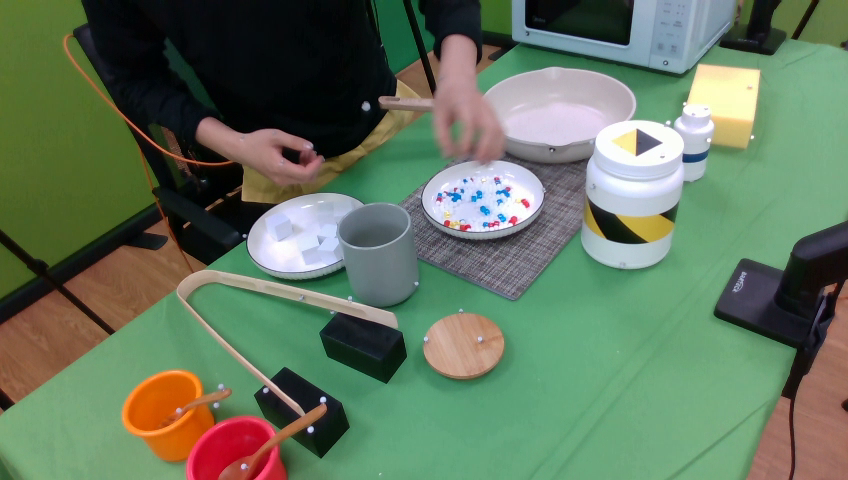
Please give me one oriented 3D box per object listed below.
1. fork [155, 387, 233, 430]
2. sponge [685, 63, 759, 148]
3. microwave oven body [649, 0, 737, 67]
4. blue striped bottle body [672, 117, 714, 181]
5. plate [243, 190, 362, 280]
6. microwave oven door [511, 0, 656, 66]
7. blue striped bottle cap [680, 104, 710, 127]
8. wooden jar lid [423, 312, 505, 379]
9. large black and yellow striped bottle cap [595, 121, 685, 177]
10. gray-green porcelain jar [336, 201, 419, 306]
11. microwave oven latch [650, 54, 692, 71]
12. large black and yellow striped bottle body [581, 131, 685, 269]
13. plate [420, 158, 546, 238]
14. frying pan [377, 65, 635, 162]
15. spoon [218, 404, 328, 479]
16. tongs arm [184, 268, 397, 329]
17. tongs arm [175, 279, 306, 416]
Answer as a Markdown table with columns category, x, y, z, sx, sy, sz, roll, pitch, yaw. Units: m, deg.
| category | x | y | z | sx | sy | sz | roll | pitch | yaw |
| --- | --- | --- | --- | --- | --- | --- | --- | --- | --- |
| fork | -0.264 | 0.191 | 0.688 | 0.206 | 0.018 | 0.028 | -33 | 8 | 44 |
| sponge | 0.569 | -0.263 | 1.164 | 0.117 | 0.061 | 0.207 | 12 | 45 | 22 |
| microwave oven body | 0.475 | -0.602 | 1.411 | 0.438 | 0.261 | 0.327 | 23 | 50 | 32 |
| blue striped bottle body | 0.449 | -0.165 | 1.022 | 0.063 | 0.121 | 0.063 | -5 | 41 | 4 |
| plate | -0.188 | -0.005 | 0.992 | 0.207 | 0.039 | 0.206 | -4 | 41 | 4 |
| microwave oven door | 0.350 | -0.539 | 1.348 | 0.353 | 0.245 | 0.039 | 24 | 50 | 31 |
| blue striped bottle cap | 0.443 | -0.205 | 0.989 | 0.044 | 0.021 | 0.044 | -1 | 41 | 1 |
| wooden jar lid | 0.053 | 0.142 | 0.800 | 0.108 | 0.021 | 0.108 | -5 | 39 | 4 |
| large black and yellow striped bottle cap | 0.292 | -0.126 | 0.821 | 0.115 | 0.019 | 0.114 | -5 | 40 | 4 |
| gray-green porcelain jar | -0.064 | 0.024 | 0.872 | 0.106 | 0.127 | 0.105 | -4 | 41 | 4 |
| microwave oven latch | 0.530 | -0.386 | 1.301 | 0.078 | 0.029 | 0.030 | 24 | 50 | 32 |
| large black and yellow striped bottle body | 0.301 | -0.063 | 0.878 | 0.131 | 0.185 | 0.130 | -4 | 41 | 4 |
| plate | 0.099 | -0.067 | 1.017 | 0.209 | 0.038 | 0.208 | -4 | 40 | 4 |
| frying pan | 0.150 | -0.255 | 1.177 | 0.488 | 0.103 | 0.306 | 7 | 41 | 4 |
| spoon | -0.164 | 0.222 | 0.643 | 0.193 | 0.022 | 0.041 | -43 | 26 | 29 |
| tongs arm | -0.202 | 0.084 | 0.847 | 0.382 | 0.027 | 0.051 | 11 | 45 | 34 |
| tongs arm | -0.255 | 0.133 | 0.801 | 0.028 | 0.028 | 0.384 | -41 | 41 | -23 |
